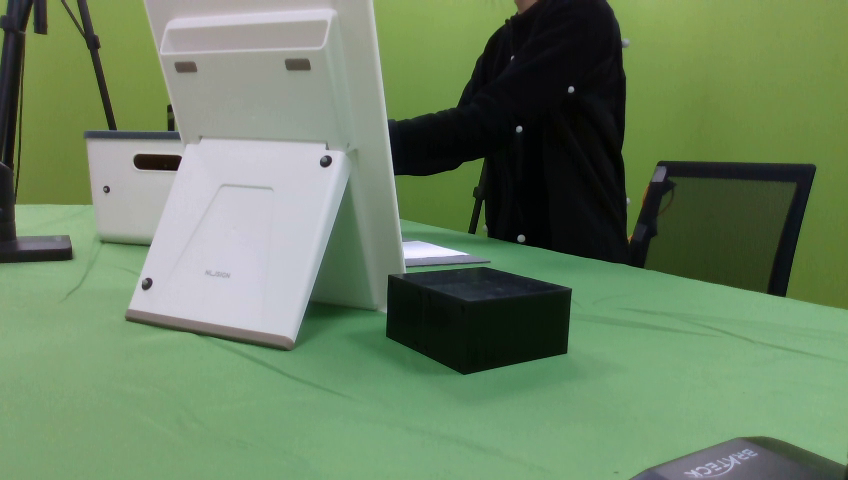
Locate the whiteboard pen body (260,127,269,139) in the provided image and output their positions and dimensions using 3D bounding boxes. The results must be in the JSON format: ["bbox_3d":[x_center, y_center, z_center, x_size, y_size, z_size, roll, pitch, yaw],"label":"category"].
[{"bbox_3d":[-0.366,-0.247,1.392,0.017,0.017,0.140,0,3,-17],"label":"whiteboard pen body"}]

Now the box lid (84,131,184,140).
[{"bbox_3d":[-0.336,-0.161,1.011,0.263,0.015,0.372,2,6,10],"label":"box lid"}]

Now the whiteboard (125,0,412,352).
[{"bbox_3d":[-0.151,-0.049,0.472,0.216,0.305,0.144,6,27,24],"label":"whiteboard"}]

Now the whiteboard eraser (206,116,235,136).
[{"bbox_3d":[-0.450,-0.252,1.335,0.056,0.042,0.112,1,7,-22],"label":"whiteboard eraser"}]

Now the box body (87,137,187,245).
[{"bbox_3d":[-0.338,-0.088,1.022,0.254,0.160,0.364,3,7,9],"label":"box body"}]

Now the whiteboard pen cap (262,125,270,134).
[{"bbox_3d":[-0.349,-0.244,1.337,0.018,0.018,0.033,0,2,-17],"label":"whiteboard pen cap"}]

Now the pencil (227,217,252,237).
[{"bbox_3d":[-0.333,-0.024,1.092,0.012,0.012,0.193,2,10,-5],"label":"pencil"}]
